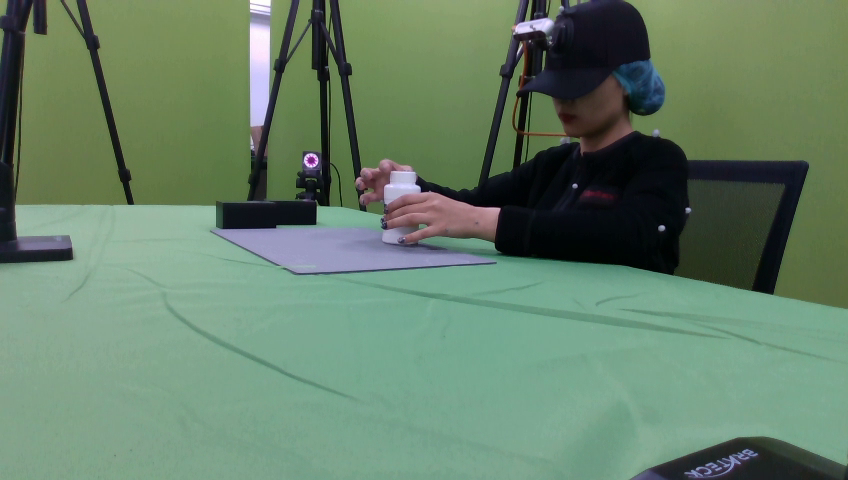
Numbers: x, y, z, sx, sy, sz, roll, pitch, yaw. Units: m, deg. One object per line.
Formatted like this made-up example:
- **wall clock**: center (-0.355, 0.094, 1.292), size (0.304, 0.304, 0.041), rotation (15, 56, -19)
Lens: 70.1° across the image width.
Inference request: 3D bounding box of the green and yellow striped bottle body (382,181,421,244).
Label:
- **green and yellow striped bottle body**: center (-0.038, -0.055, 1.018), size (0.063, 0.119, 0.063), rotation (3, 8, 0)

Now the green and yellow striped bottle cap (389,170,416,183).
- **green and yellow striped bottle cap**: center (-0.036, -0.106, 1.012), size (0.045, 0.020, 0.045), rotation (4, 7, 0)
